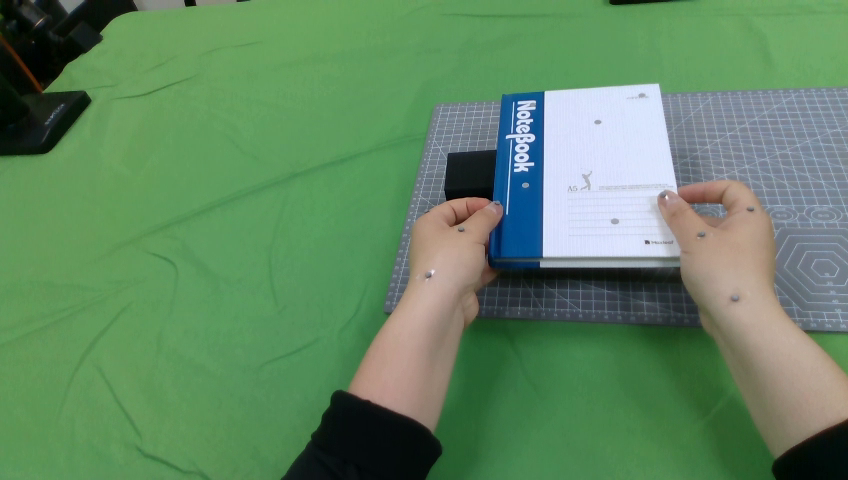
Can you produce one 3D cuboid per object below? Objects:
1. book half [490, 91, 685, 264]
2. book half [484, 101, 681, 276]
[{"bbox_3d":[0.135,-0.061,0.520,0.143,0.007,0.208,0,49,12],"label":"book half"},{"bbox_3d":[0.133,-0.056,0.526,0.148,0.016,0.208,-1,49,12],"label":"book half"}]
